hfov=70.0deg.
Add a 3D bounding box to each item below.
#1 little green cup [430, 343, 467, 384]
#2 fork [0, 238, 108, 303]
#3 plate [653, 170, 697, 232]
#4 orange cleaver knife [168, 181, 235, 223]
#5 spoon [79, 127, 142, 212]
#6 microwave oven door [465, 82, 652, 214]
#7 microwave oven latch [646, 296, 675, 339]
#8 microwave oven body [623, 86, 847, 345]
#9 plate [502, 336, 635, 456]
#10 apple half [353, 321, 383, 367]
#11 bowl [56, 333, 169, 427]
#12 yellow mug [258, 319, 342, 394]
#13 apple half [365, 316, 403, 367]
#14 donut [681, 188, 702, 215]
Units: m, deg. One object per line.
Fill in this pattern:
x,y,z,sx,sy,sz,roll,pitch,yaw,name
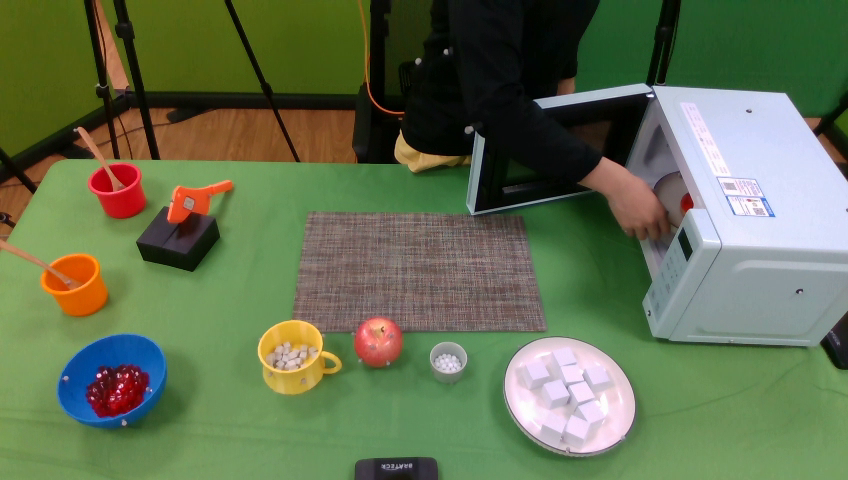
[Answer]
0.039,0.203,0.993,0.061,0.039,0.061,2,46,-2,little green cup
-0.633,0.048,1.017,0.208,0.018,0.028,40,43,-27,fork
0.555,-0.059,1.197,0.209,0.038,0.208,2,45,-2,plate
-0.436,-0.078,1.196,0.012,0.077,0.211,16,15,10,orange cleaver knife
-0.624,-0.140,1.203,0.041,0.021,0.194,-33,101,-26,spoon
0.265,-0.183,1.216,0.356,0.245,0.039,-12,48,-15,microwave oven door
0.412,0.134,1.061,0.030,0.029,0.078,4,45,1,microwave oven latch
0.567,-0.053,1.118,0.326,0.261,0.439,2,45,-1,microwave oven body
0.225,0.248,0.963,0.208,0.039,0.206,2,46,-2,plate
-0.097,0.177,0.984,0.033,0.081,0.081,-17,49,-24,apple half
-0.456,0.223,0.911,0.151,0.077,0.150,3,46,-2,bowl
-0.195,0.188,0.972,0.131,0.064,0.099,9,47,4,yellow mug
-0.063,0.165,1.000,0.053,0.075,0.080,-16,45,-24,apple half
0.553,-0.065,1.185,0.099,0.048,0.098,1,44,-1,donut
